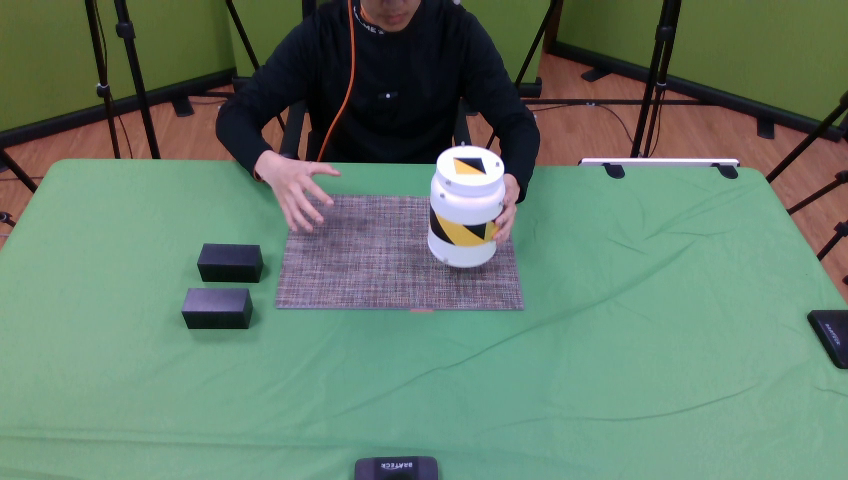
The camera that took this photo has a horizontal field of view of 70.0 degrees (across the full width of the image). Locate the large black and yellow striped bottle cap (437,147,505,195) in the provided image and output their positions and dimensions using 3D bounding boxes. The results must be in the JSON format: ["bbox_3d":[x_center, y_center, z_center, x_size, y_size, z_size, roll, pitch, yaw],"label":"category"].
[{"bbox_3d":[0.079,-0.118,1.019,0.115,0.019,0.114,1,43,0],"label":"large black and yellow striped bottle cap"}]

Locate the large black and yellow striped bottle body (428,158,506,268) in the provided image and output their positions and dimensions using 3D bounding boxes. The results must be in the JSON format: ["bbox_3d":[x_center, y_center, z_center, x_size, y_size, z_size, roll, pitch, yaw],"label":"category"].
[{"bbox_3d":[0.074,-0.056,1.075,0.131,0.185,0.130,2,42,-1],"label":"large black and yellow striped bottle body"}]
